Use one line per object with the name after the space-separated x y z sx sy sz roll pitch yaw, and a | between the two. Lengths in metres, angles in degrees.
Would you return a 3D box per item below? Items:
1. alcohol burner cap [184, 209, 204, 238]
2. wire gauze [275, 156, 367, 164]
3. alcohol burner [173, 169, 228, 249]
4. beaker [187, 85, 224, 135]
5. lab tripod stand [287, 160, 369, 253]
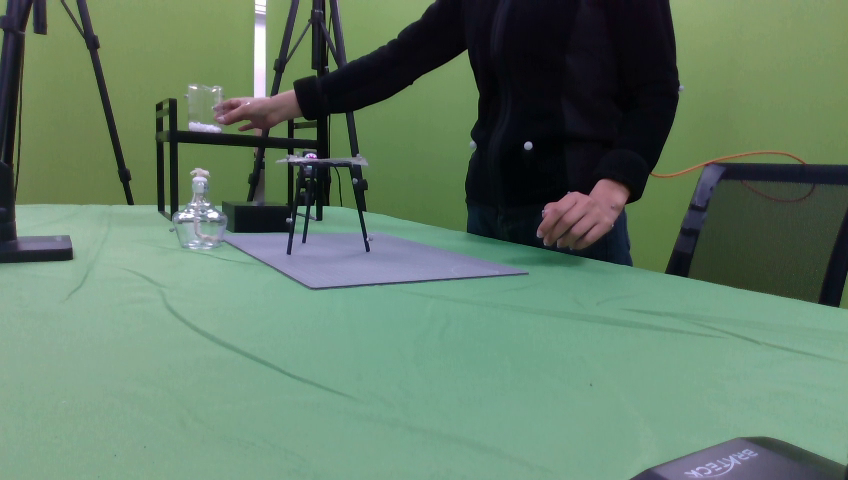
-0.389 -0.029 1.025 0.034 0.048 0.034 2 8 0 | alcohol burner cap
-0.148 -0.119 0.895 0.121 0.011 0.125 1 7 -3 | wire gauze
-0.333 -0.047 0.903 0.078 0.119 0.078 1 6 0 | alcohol burner
-0.466 -0.276 1.296 0.074 0.100 0.083 -4 10 -35 | beaker
-0.157 -0.053 0.902 0.148 0.131 0.148 0 7 0 | lab tripod stand
